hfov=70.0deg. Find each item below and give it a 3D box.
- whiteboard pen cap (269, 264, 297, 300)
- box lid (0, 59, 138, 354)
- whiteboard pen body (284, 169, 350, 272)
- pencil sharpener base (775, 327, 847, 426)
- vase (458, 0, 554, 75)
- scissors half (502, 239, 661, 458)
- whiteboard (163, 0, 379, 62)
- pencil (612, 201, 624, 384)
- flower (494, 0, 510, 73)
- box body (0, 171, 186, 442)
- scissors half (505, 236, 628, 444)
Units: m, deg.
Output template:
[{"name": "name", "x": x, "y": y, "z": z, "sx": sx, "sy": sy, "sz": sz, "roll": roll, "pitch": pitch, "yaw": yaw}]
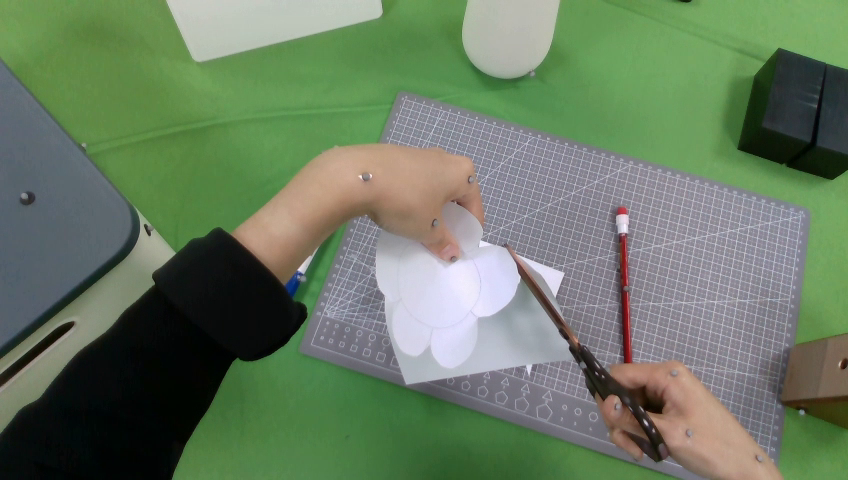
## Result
[{"name": "whiteboard pen cap", "x": -0.134, "y": 0.040, "z": 0.581, "sx": 0.018, "sy": 0.018, "sz": 0.033, "roll": 24, "pitch": 68, "yaw": 7}, {"name": "box lid", "x": -0.421, "y": -0.049, "z": 0.450, "sx": 0.370, "sy": 0.015, "sz": 0.263, "roll": 44, "pitch": 76, "yaw": 11}, {"name": "whiteboard pen body", "x": -0.110, "y": -0.011, "z": 0.600, "sx": 0.017, "sy": 0.017, "sz": 0.140, "roll": 24, "pitch": 71, "yaw": 7}, {"name": "pencil sharpener base", "x": 0.374, "y": 0.120, "z": 0.524, "sx": 0.076, "sy": 0.107, "sz": 0.061, "roll": 21, "pitch": 72, "yaw": 2}, {"name": "vase", "x": 0.085, "y": -0.251, "z": 0.589, "sx": 0.098, "sy": 0.201, "sz": 0.097, "roll": 0, "pitch": 70, "yaw": 0}, {"name": "scissors half", "x": 0.104, "y": 0.070, "z": 0.410, "sx": 0.013, "sy": 0.040, "sz": 0.174, "roll": -33, "pitch": 80, "yaw": -13}, {"name": "whiteboard", "x": -0.185, "y": -0.370, "z": 0.596, "sx": 0.217, "sy": 0.308, "sz": 0.142, "roll": -16, "pitch": 54, "yaw": -6}, {"name": "pencil", "x": 0.190, "y": 0.054, "z": 0.591, "sx": 0.012, "sy": 0.012, "sz": 0.193, "roll": 4, "pitch": 74, "yaw": 0}, {"name": "flower", "x": 0.084, "y": -0.292, "z": 0.515, "sx": 0.044, "sy": 0.365, "sz": 0.038, "roll": 11, "pitch": 54, "yaw": 6}, {"name": "box body", "x": -0.421, "y": -0.024, "z": 0.521, "sx": 0.362, "sy": 0.161, "sz": 0.254, "roll": 44, "pitch": 76, "yaw": 11}, {"name": "scissors half", "x": 0.101, "y": 0.072, "z": 0.431, "sx": 0.013, "sy": 0.040, "sz": 0.176, "roll": -32, "pitch": 101, "yaw": -8}]
